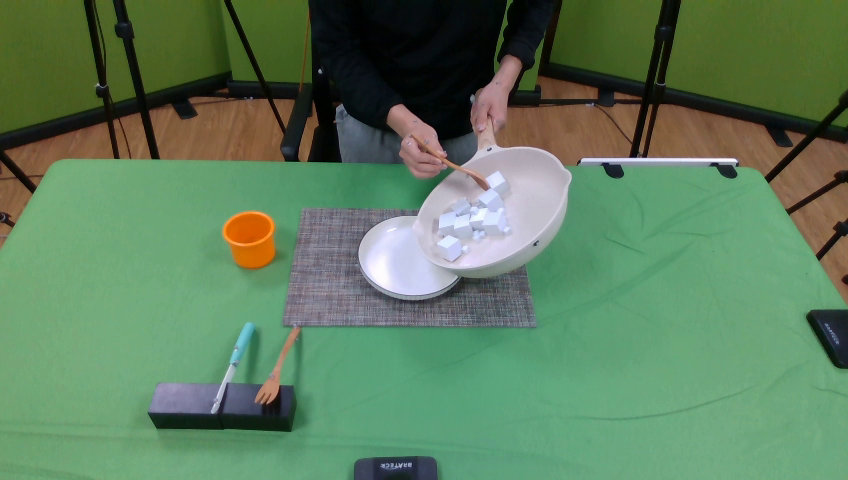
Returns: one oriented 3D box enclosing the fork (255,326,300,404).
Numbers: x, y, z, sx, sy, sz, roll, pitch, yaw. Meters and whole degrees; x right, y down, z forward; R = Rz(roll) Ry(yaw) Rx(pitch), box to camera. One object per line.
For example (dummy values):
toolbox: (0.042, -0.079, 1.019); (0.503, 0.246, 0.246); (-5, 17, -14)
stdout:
fork: (-0.226, 0.192, 0.955); (0.028, 0.019, 0.206); (-1, 27, 5)

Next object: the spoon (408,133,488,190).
spoon: (0.047, -0.142, 1.112); (0.195, 0.021, 0.041); (27, 3, -29)

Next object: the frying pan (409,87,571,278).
frying pan: (0.122, -0.129, 1.144); (0.306, 0.103, 0.485); (-16, 50, 22)

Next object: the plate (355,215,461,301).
plate: (-0.025, 0.038, 1.144); (0.208, 0.039, 0.206); (3, 46, -2)

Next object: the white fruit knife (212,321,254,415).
white fruit knife: (-0.298, 0.193, 0.947); (0.016, 0.027, 0.206); (2, 31, -1)
